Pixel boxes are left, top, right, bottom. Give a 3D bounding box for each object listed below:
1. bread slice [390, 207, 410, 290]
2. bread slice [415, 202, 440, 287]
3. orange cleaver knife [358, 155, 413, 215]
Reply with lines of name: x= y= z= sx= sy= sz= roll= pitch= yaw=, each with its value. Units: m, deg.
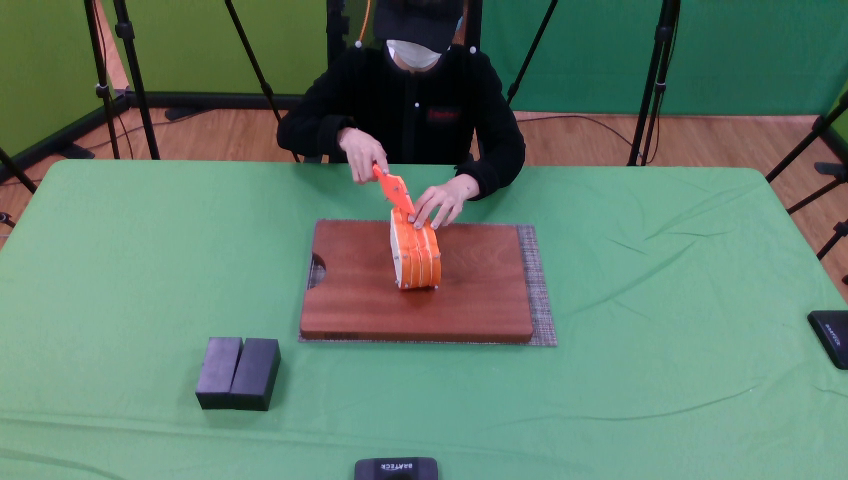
bread slice: x=-0.044 y=0.021 z=1.077 sx=0.019 sy=0.105 sz=0.130 roll=-5 pitch=53 yaw=-9
bread slice: x=0.005 y=0.017 z=1.088 sx=0.018 sy=0.107 sz=0.133 roll=-9 pitch=55 yaw=-9
orange cleaver knife: x=-0.070 y=-0.100 z=1.076 sx=0.012 sy=0.077 sz=0.210 roll=-26 pitch=31 yaw=-16
